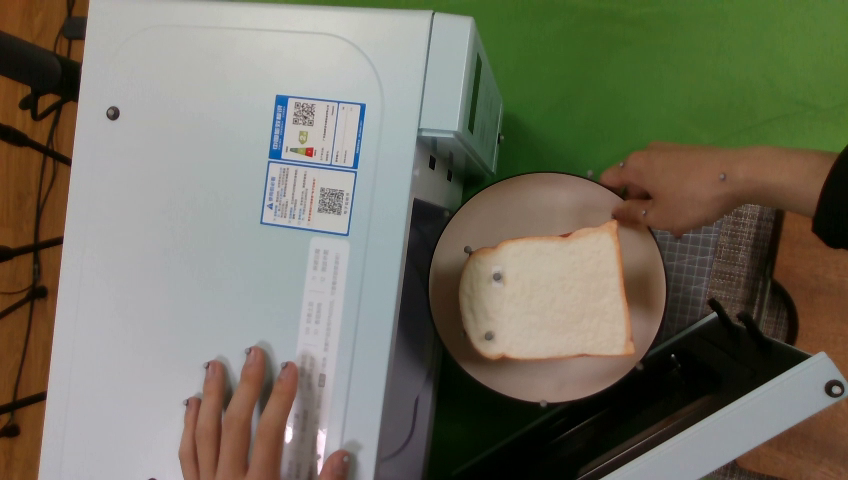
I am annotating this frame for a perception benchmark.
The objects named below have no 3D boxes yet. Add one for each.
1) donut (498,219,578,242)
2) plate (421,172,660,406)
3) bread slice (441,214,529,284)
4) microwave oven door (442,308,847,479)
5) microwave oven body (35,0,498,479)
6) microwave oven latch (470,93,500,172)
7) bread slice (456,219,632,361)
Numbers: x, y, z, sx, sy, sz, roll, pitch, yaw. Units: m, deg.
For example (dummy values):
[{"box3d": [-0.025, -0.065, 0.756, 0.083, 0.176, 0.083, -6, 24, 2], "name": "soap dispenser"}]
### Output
[{"box3d": [0.104, 0.028, 0.528, 0.099, 0.048, 0.099, 1, 112, 3], "name": "donut"}, {"box3d": [0.102, 0.044, 0.547, 0.207, 0.039, 0.207, 0, 93, 7], "name": "plate"}, {"box3d": [0.078, 0.026, 0.571, 0.132, 0.019, 0.105, 6, 103, -3], "name": "bread slice"}, {"box3d": [0.126, 0.178, 0.499, 0.356, 0.244, 0.039, -35, 82, 10], "name": "microwave oven door"}, {"box3d": [-0.126, 0.046, 0.557, 0.325, 0.261, 0.441, 7, 92, 12], "name": "microwave oven body"}, {"box3d": [0.061, -0.110, 0.617, 0.030, 0.029, 0.079, 7, 92, 12], "name": "microwave oven latch"}, {"box3d": [0.094, 0.048, 0.489, 0.134, 0.018, 0.107, -11, 93, 14], "name": "bread slice"}]
